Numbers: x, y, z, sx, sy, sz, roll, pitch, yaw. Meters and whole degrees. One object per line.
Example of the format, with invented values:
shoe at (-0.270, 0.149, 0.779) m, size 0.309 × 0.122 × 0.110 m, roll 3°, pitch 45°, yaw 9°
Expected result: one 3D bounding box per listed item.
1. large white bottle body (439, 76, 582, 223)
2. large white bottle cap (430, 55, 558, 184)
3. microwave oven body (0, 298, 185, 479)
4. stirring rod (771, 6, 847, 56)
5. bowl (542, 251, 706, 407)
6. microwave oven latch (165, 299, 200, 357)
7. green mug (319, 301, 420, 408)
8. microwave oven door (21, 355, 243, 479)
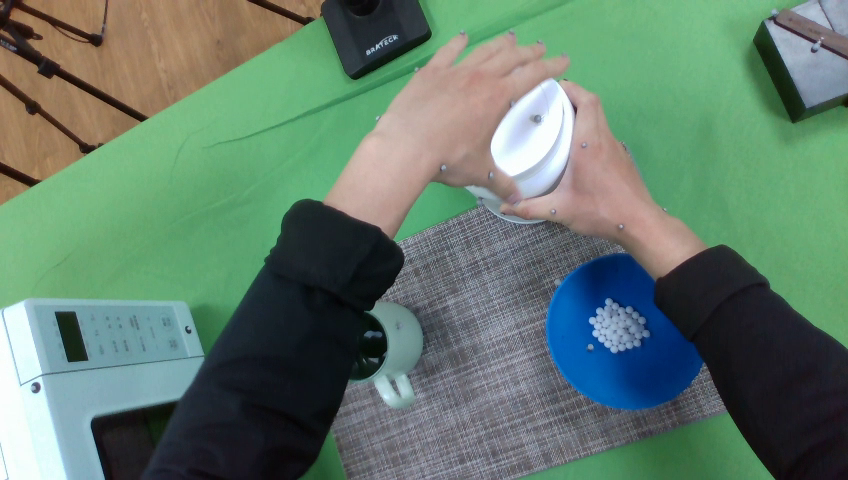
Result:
large white bottle body at (0.089, -0.095, 0.615) m, size 0.130 × 0.186 × 0.130 m, roll -3°, pitch 81°, yaw 17°
large white bottle cap at (0.061, -0.107, 0.535) m, size 0.114 × 0.018 × 0.114 m, roll -3°, pitch 81°, yaw 18°
microwave oven body at (-0.414, 0.327, 0.693) m, size 0.326 × 0.261 × 0.439 m, roll -25°, pitch 79°, yaw 13°
stirring rod at (0.407, -0.173, 0.563) m, size 0.175 × 0.006 × 0.014 m, roll 36°, pitch 131°, yaw 17°
bowl at (0.201, 0.088, 0.618) m, size 0.151 × 0.077 × 0.151 m, roll -2°, pitch 85°, yaw 18°
microwave oven latch at (-0.319, 0.115, 0.784) m, size 0.030 × 0.029 × 0.079 m, roll -25°, pitch 79°, yaw 13°
green mug at (-0.052, 0.129, 0.679) m, size 0.092 × 0.105 × 0.124 m, roll -32°, pitch 77°, yaw 11°
microwave oven door at (-0.271, 0.304, 0.645) m, size 0.039 × 0.245 × 0.354 m, roll -26°, pitch 78°, yaw 13°
